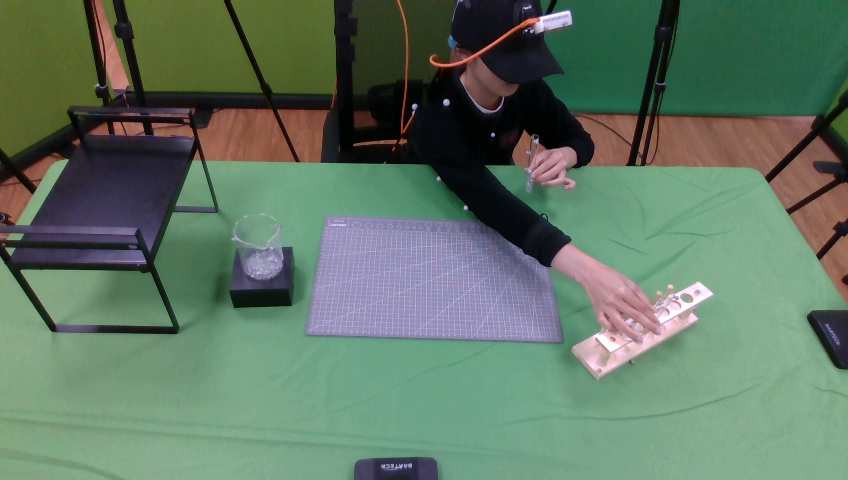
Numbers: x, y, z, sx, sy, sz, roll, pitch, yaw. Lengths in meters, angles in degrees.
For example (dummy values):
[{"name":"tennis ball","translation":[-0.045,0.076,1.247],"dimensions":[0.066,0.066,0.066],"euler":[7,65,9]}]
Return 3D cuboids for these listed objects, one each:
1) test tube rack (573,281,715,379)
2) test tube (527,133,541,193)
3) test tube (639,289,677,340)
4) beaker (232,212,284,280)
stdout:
[{"name":"test tube rack","translation":[0.378,0.140,1.038],"dimensions":[0.242,0.085,0.066],"euler":[-22,51,-23]},{"name":"test tube","translation":[0.219,-0.151,1.215],"dimensions":[0.017,0.151,0.017],"euler":[-2,48,2]},{"name":"test tube","translation":[0.376,0.124,0.983],"dimensions":[0.017,0.151,0.017],"euler":[1,54,-1]},{"name":"beaker","translation":[-0.280,0.016,1.036],"dimensions":[0.074,0.101,0.083],"euler":[-18,50,-20]}]
